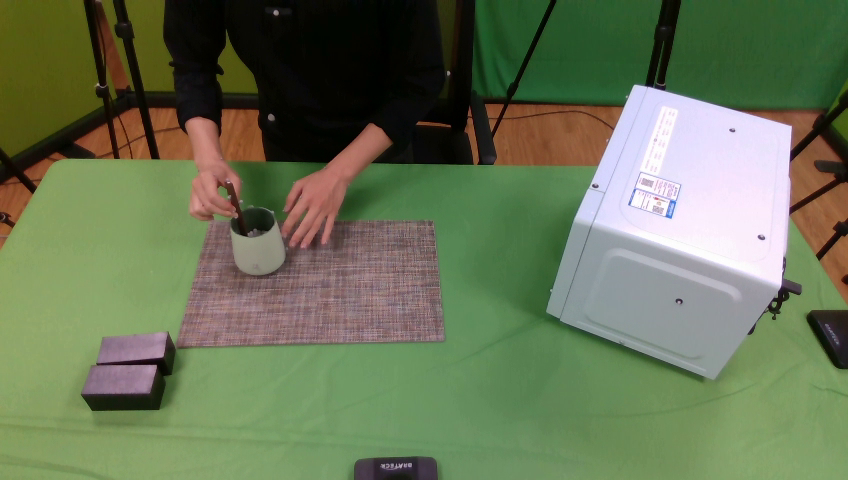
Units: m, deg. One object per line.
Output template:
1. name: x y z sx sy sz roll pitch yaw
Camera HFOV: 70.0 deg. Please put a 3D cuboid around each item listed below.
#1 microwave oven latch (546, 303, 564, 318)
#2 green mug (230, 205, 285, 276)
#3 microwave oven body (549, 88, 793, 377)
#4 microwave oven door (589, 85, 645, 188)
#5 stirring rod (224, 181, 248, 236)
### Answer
1. microwave oven latch: 0.242 0.102 1.081 0.030 0.029 0.079 22 48 17
2. green mug: -0.311 -0.008 1.118 0.092 0.105 0.124 -14 49 -16
3. microwave oven body: 0.456 -0.028 1.088 0.325 0.261 0.440 20 47 16
4. microwave oven door: 0.342 -0.107 1.148 0.039 0.245 0.354 20 48 15
5. stirring rod: -0.325 -0.039 1.065 0.014 0.177 0.006 17 51 13
